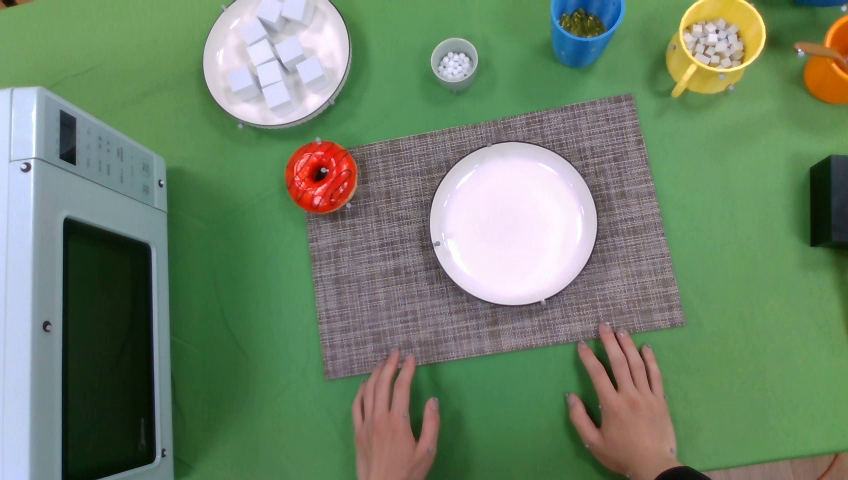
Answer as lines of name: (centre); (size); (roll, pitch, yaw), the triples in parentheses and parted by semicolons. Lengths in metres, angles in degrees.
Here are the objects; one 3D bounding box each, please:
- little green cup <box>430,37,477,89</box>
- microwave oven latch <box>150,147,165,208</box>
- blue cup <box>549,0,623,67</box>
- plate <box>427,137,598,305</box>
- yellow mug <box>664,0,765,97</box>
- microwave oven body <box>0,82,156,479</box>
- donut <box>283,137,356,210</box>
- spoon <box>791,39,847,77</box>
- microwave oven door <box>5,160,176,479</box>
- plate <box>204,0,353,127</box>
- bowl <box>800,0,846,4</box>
little green cup: (0.041, -0.232, 0.803); (0.061, 0.039, 0.061); (-1, 80, 8)
microwave oven latch: (-0.364, -0.082, 0.810); (0.030, 0.029, 0.079); (-5, 81, 6)
blue cup: (0.195, -0.266, 0.757); (0.092, 0.100, 0.092); (-1, 81, 7)
plate: (0.109, -0.023, 0.755); (0.209, 0.038, 0.208); (-1, 80, 7)
yellow mug: (0.347, -0.231, 0.749); (0.099, 0.064, 0.131); (39, 88, 12)
microwave oven body: (-0.506, 0.091, 0.700); (0.326, 0.261, 0.440); (-7, 80, 6)
donut: (-0.137, -0.086, 0.794); (0.099, 0.048, 0.098); (-1, 82, 9)
spoon: (0.465, -0.211, 0.689); (0.021, 0.195, 0.041); (-24, 72, 48)
microwave oven door: (-0.358, 0.115, 0.672); (0.039, 0.245, 0.354); (-7, 79, 6)
plate: (-0.196, -0.251, 0.836); (0.207, 0.039, 0.207); (-1, 80, 7)
bowl: (0.489, -0.350, 0.745); (0.151, 0.077, 0.151); (-1, 81, 8)
